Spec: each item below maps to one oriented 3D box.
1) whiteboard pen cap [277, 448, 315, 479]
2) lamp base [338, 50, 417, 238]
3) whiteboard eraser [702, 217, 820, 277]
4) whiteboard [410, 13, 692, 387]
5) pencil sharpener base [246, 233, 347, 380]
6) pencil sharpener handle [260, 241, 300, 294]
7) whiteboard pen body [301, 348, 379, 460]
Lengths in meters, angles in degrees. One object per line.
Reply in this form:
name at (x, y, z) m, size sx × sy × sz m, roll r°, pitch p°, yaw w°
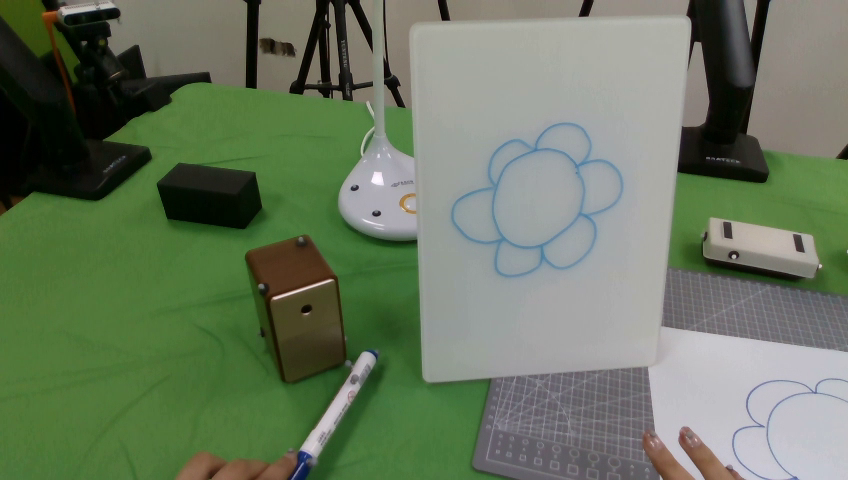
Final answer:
whiteboard pen cap at (-0.094, 0.172, 0.452) m, size 0.018 × 0.018 × 0.033 m, roll 15°, pitch 36°, yaw 19°
lamp base at (-0.033, -0.120, 0.717) m, size 0.161 × 0.182 × 0.177 m, roll -22°, pitch 40°, yaw -26°
whiteboard eraser at (0.367, 0.010, 0.667) m, size 0.112 × 0.042 × 0.055 m, roll 10°, pitch 37°, yaw 14°
whiteboard at (0.097, -0.042, 0.561) m, size 0.217 × 0.307 × 0.143 m, roll -3°, pitch 19°, yaw -3°
pencil sharpener base at (-0.114, 0.058, 0.543) m, size 0.061 × 0.108 × 0.076 m, roll -18°, pitch 41°, yaw -22°
pencil sharpener handle at (-0.136, 0.021, 0.572) m, size 0.036 × 0.068 × 0.030 m, roll -24°, pitch 43°, yaw -17°
whiteboard pen body at (-0.072, 0.141, 0.498) m, size 0.017 × 0.017 × 0.140 m, roll 14°, pitch 39°, yaw 17°
